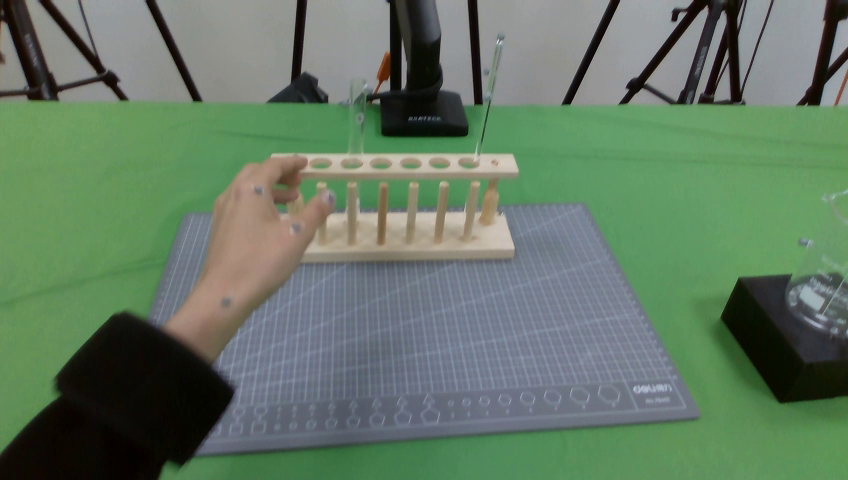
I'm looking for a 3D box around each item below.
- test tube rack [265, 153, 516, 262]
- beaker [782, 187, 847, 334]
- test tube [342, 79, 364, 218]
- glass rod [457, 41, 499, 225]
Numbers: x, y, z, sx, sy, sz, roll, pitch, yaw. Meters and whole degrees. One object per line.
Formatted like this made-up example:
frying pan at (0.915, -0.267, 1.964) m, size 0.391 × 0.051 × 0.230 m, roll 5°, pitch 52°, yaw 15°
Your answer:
test tube rack at (-0.032, -0.033, 0.608) m, size 0.243 × 0.086 × 0.066 m, roll -1°, pitch 38°, yaw -6°
beaker at (0.338, 0.018, 0.483) m, size 0.074 × 0.101 × 0.083 m, roll -23°, pitch 44°, yaw -30°
test tube at (-0.070, -0.083, 0.588) m, size 0.017 × 0.151 × 0.017 m, roll 5°, pitch 36°, yaw -4°
glass rod at (0.049, -0.094, 0.583) m, size 0.008 × 0.201 × 0.008 m, roll 6°, pitch 40°, yaw -4°
